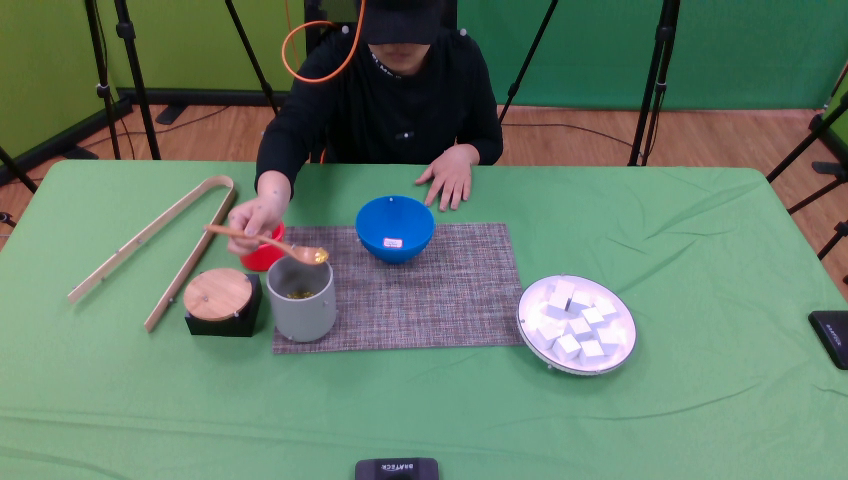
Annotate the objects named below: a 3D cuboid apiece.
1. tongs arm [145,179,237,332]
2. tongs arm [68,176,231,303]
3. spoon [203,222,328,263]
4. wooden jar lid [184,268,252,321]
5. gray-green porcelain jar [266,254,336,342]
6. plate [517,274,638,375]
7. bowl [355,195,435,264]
[{"bbox_3d":[-0.432,0.015,1.149,0.028,0.028,0.385,8,46,7],"label":"tongs arm"},{"bbox_3d":[-0.510,-0.010,1.162,0.050,0.026,0.383,20,47,14],"label":"tongs arm"},{"bbox_3d":[-0.245,0.000,0.946,0.194,0.022,0.041,20,35,-20],"label":"spoon"},{"bbox_3d":[-0.343,0.093,1.015,0.108,0.021,0.107,3,46,-3],"label":"wooden jar lid"},{"bbox_3d":[-0.202,0.100,1.009,0.106,0.127,0.105,2,46,-2],"label":"gray-green porcelain jar"},{"bbox_3d":[0.264,0.149,1.060,0.209,0.038,0.208,3,46,-3],"label":"plate"},{"bbox_3d":[-0.056,-0.008,1.158,0.151,0.077,0.150,2,46,-2],"label":"bowl"}]
